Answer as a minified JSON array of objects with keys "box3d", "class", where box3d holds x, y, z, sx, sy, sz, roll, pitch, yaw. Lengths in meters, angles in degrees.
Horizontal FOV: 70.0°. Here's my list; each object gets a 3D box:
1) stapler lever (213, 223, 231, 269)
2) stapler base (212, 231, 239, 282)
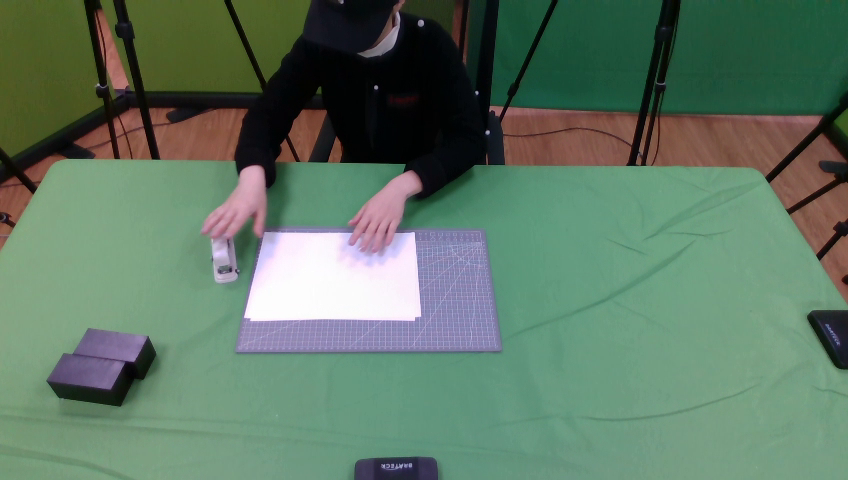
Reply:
[{"box3d":[-0.377,0.005,1.127,0.027,0.040,0.117,-10,46,-15],"class":"stapler lever"},{"box3d":[-0.378,0.024,1.144,0.041,0.024,0.129,-9,46,-15],"class":"stapler base"}]
